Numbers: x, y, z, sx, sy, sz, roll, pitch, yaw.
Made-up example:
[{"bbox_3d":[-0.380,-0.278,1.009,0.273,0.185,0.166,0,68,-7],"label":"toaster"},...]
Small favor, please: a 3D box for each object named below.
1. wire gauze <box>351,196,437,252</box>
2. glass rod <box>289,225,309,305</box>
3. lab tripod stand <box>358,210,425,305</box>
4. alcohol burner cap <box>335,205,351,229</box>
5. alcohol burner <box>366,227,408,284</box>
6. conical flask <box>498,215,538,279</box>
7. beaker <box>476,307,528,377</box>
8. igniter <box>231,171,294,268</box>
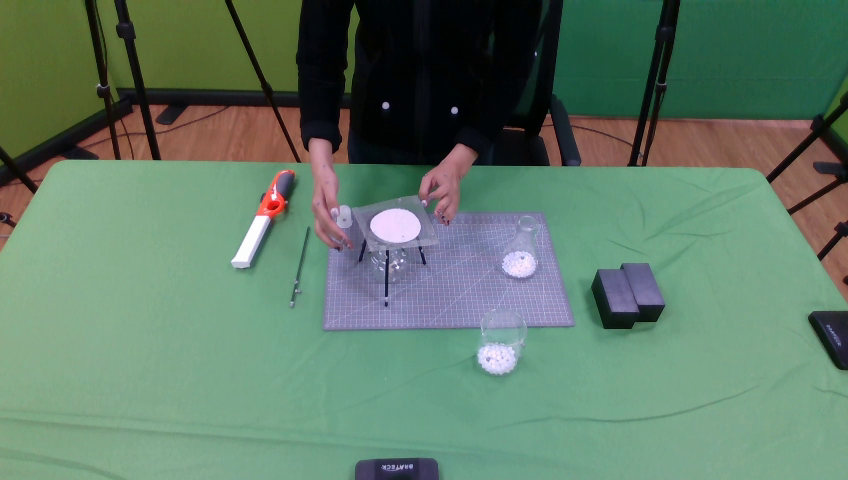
[{"bbox_3d":[-0.053,-0.028,1.048,0.125,0.011,0.120,-10,46,-16],"label":"wire gauze"},{"bbox_3d":[-0.235,0.043,1.149,0.008,0.008,0.198,3,46,-1],"label":"glass rod"},{"bbox_3d":[-0.060,0.020,1.094,0.148,0.132,0.147,3,44,-2],"label":"lab tripod stand"},{"bbox_3d":[-0.164,-0.049,1.216,0.034,0.048,0.033,2,45,-2],"label":"alcohol burner cap"},{"bbox_3d":[-0.068,0.024,1.104,0.078,0.120,0.077,1,46,-1],"label":"alcohol burner"},{"bbox_3d":[0.183,0.010,1.131,0.075,0.122,0.075,2,46,-2],"label":"conical flask"},{"bbox_3d":[0.122,0.171,0.991,0.084,0.101,0.073,-34,56,-31],"label":"beaker"},{"bbox_3d":[-0.321,-0.051,1.220,0.057,0.025,0.275,2,45,12],"label":"igniter"}]
